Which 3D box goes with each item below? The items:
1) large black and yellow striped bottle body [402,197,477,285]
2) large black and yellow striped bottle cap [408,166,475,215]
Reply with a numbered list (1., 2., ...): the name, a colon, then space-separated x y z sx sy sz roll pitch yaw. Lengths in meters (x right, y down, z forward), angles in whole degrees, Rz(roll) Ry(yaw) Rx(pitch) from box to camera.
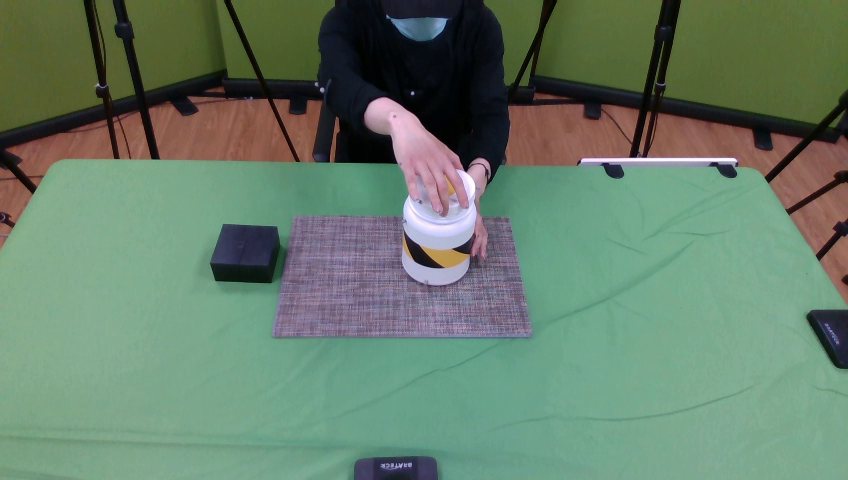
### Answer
1. large black and yellow striped bottle body: 0.027 -0.021 1.099 0.131 0.185 0.130 2 46 -2
2. large black and yellow striped bottle cap: 0.030 -0.086 1.031 0.115 0.019 0.114 0 44 0
